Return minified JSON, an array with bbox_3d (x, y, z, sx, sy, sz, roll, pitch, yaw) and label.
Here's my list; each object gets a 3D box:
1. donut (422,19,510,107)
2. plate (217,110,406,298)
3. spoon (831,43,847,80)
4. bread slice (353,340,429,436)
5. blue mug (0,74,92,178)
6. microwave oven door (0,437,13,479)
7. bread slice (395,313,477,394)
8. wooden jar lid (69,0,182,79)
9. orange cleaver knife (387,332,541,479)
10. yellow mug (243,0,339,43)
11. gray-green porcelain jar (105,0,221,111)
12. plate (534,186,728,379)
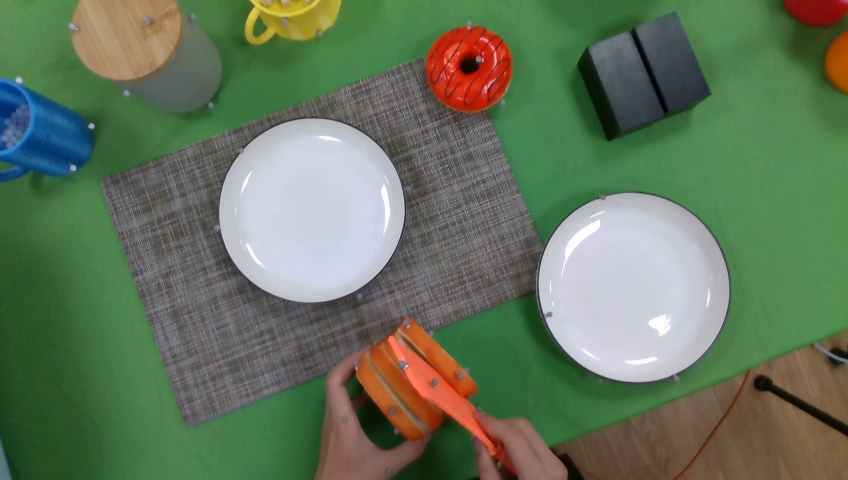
[{"bbox_3d":[0.048,-0.199,0.682,0.099,0.048,0.099,0,87,1],"label":"donut"},{"bbox_3d":[-0.123,-0.039,0.679,0.207,0.039,0.207,0,87,1],"label":"plate"},{"bbox_3d":[0.529,-0.228,0.626,0.022,0.193,0.041,-21,83,-45],"label":"spoon"},{"bbox_3d":[-0.034,0.152,0.622,0.019,0.131,0.105,-41,87,-1],"label":"bread slice"},{"bbox_3d":[-0.443,-0.111,0.660,0.082,0.106,0.116,43,88,4],"label":"blue mug"},{"bbox_3d":[-0.492,0.203,0.555,0.039,0.244,0.355,-18,86,0],"label":"microwave oven door"},{"bbox_3d":[0.011,0.119,0.621,0.107,0.134,0.018,45,81,1],"label":"bread slice"},{"bbox_3d":[-0.288,-0.208,0.590,0.108,0.021,0.108,0,85,2],"label":"wooden jar lid"},{"bbox_3d":[0.039,0.156,0.549,0.012,0.076,0.213,-41,119,4],"label":"orange cleaver knife"},{"bbox_3d":[-0.160,-0.278,0.685,0.100,0.064,0.131,37,89,3],"label":"yellow mug"},{"bbox_3d":[-0.286,-0.203,0.652,0.106,0.126,0.105,0,86,1],"label":"gray-green porcelain jar"},{"bbox_3d":[0.224,0.046,0.670,0.209,0.038,0.208,0,87,2],"label":"plate"}]
